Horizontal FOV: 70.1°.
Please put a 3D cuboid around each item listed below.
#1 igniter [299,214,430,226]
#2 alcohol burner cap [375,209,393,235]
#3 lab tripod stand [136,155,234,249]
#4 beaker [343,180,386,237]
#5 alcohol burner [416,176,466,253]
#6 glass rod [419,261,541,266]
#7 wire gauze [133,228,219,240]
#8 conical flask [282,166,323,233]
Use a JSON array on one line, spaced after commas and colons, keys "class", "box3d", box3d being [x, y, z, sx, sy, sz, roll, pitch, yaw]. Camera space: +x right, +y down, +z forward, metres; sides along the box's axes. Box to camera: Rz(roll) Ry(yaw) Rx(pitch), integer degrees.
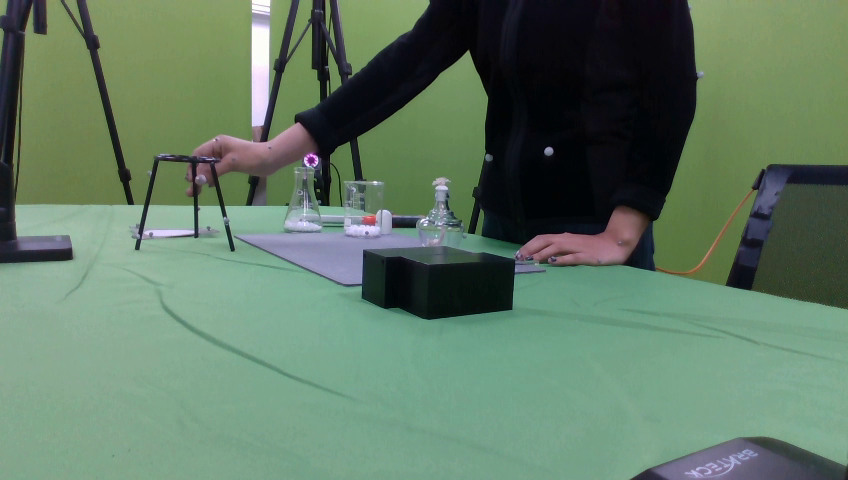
[{"class": "igniter", "box3d": [-0.123, -0.044, 1.281, 0.278, 0.025, 0.057, 0, -3, -19]}, {"class": "alcohol burner cap", "box3d": [-0.076, -0.035, 1.150, 0.034, 0.048, 0.034, 2, 7, 0]}, {"class": "lab tripod stand", "box3d": [-0.339, -0.056, 0.880, 0.148, 0.131, 0.148, 4, 8, 0]}, {"class": "beaker", "box3d": [-0.111, -0.058, 1.090, 0.083, 0.100, 0.074, 7, 8, 33]}, {"class": "alcohol burner", "box3d": [0.027, -0.039, 0.934, 0.078, 0.119, 0.078, 3, 9, 0]}, {"class": "glass rod", "box3d": [0.080, 0.031, 0.807, 0.201, 0.008, 0.008, 1, 6, -32]}, {"class": "wire gauze", "box3d": [-0.421, -0.013, 1.024, 0.122, 0.011, 0.124, -2, 7, -34]}, {"class": "conical flask", "box3d": [-0.226, -0.076, 1.129, 0.075, 0.122, 0.075, 2, 8, 0]}]
